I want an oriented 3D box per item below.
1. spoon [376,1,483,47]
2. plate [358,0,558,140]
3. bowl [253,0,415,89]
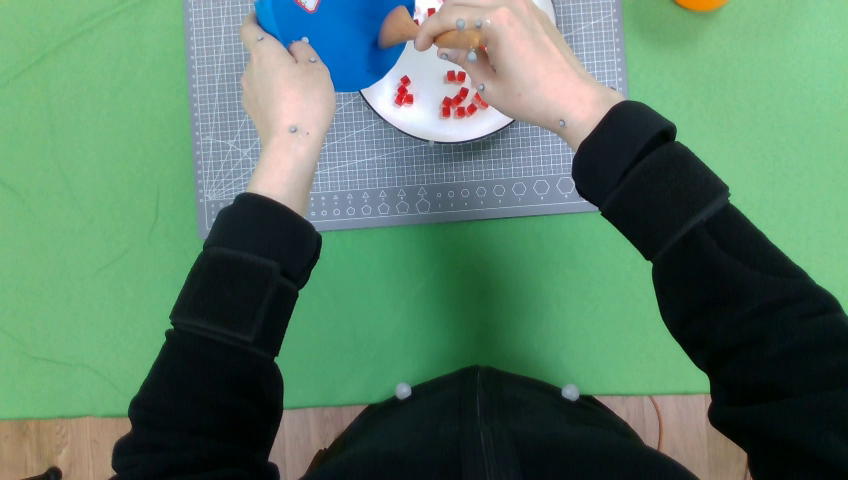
[{"bbox_3d":[0.001,-0.160,0.459,0.022,0.191,0.041,25,99,-33],"label":"spoon"},{"bbox_3d":[0.027,-0.202,0.603,0.209,0.038,0.209,0,90,3],"label":"plate"},{"bbox_3d":[-0.087,-0.208,0.505,0.076,0.153,0.151,23,91,39],"label":"bowl"}]
